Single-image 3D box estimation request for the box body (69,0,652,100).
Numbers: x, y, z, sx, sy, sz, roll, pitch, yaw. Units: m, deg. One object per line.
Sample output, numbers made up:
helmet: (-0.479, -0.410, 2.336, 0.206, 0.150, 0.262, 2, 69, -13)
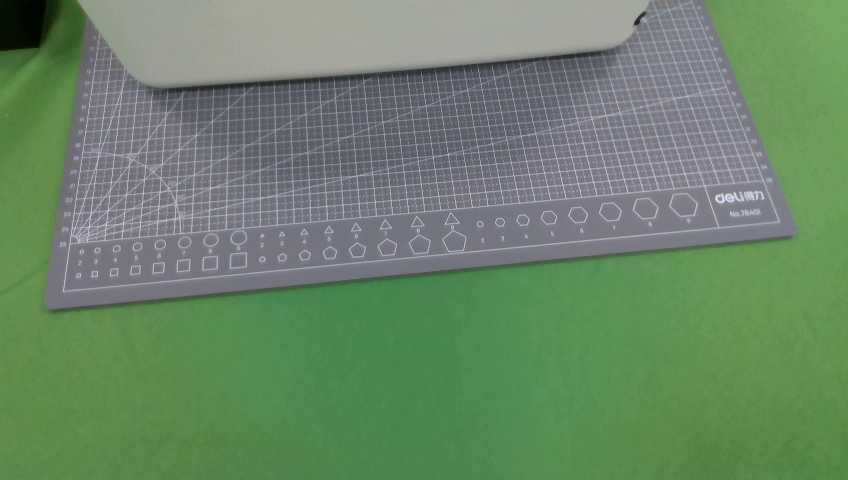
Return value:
box body: (-0.036, -0.245, 0.396, 0.364, 0.161, 0.252, -7, 65, -5)
